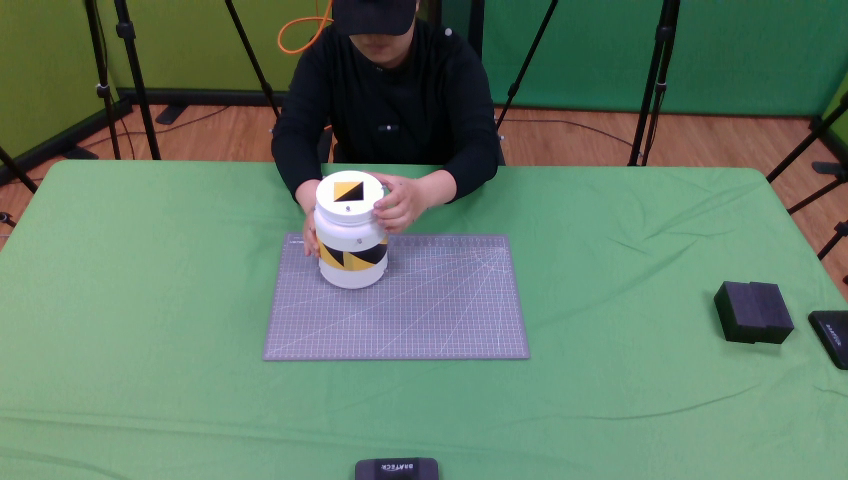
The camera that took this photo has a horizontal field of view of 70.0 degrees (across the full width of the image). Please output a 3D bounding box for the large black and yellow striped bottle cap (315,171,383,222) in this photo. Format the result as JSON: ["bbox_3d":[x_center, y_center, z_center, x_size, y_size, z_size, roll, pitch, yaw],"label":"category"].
[{"bbox_3d":[-0.126,-0.075,1.024,0.115,0.019,0.114,2,45,-2],"label":"large black and yellow striped bottle cap"}]

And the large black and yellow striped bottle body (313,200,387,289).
[{"bbox_3d":[-0.131,-0.016,1.087,0.131,0.185,0.130,2,46,-2],"label":"large black and yellow striped bottle body"}]
